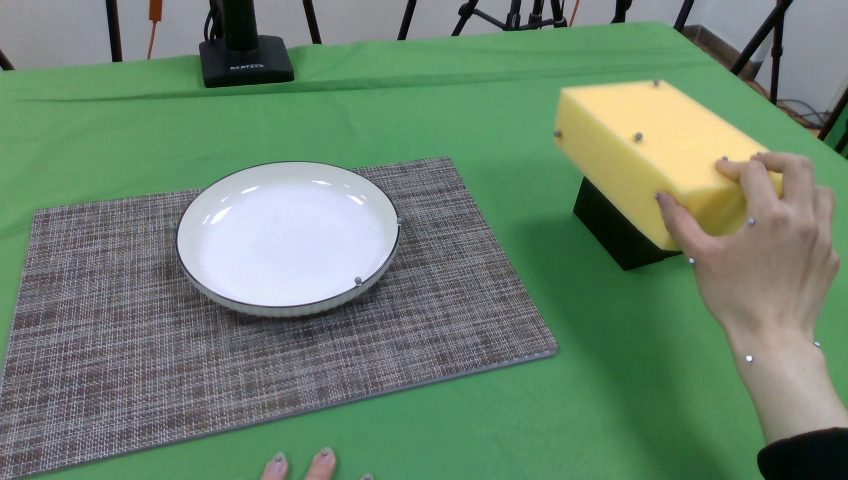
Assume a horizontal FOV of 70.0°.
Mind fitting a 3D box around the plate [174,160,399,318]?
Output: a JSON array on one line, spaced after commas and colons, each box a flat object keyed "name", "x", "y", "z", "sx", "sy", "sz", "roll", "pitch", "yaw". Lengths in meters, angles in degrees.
[{"name": "plate", "x": -0.129, "y": -0.002, "z": 0.589, "sx": 0.208, "sy": 0.039, "sz": 0.205, "roll": 3, "pitch": 44, "yaw": -3}]

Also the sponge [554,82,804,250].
[{"name": "sponge", "x": 0.222, "y": -0.079, "z": 0.565, "sx": 0.118, "sy": 0.061, "sz": 0.204, "roll": -8, "pitch": 37, "yaw": -14}]
